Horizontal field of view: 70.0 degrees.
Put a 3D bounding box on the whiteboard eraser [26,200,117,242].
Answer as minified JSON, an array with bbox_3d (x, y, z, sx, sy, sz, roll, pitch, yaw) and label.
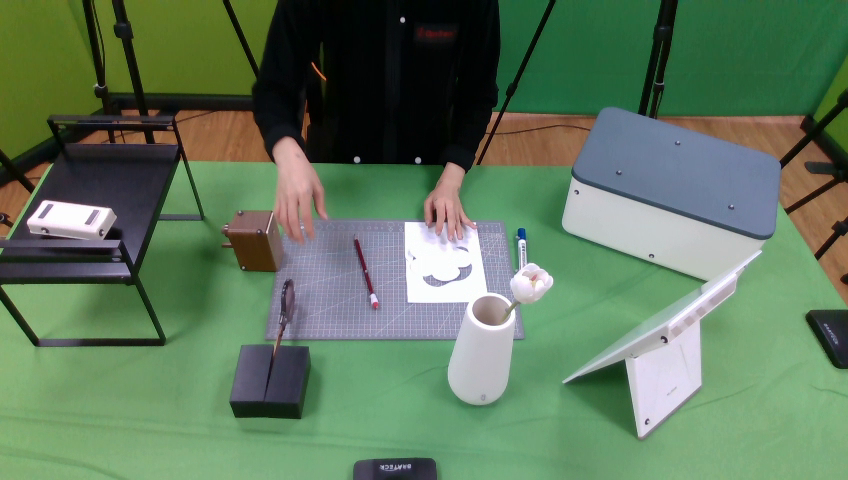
[{"bbox_3d":[-0.532,-0.026,0.919,0.113,0.042,0.055,7,45,3],"label":"whiteboard eraser"}]

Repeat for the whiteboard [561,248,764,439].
[{"bbox_3d":[0.386,0.176,0.905,0.217,0.306,0.143,-26,72,-27],"label":"whiteboard"}]

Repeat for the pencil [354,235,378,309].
[{"bbox_3d":[-0.113,0.055,1.142,0.012,0.012,0.192,-10,46,-13],"label":"pencil"}]

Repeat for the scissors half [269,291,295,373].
[{"bbox_3d":[-0.237,0.151,1.009,0.013,0.040,0.174,4,38,0],"label":"scissors half"}]

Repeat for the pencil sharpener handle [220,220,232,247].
[{"bbox_3d":[-0.362,-0.009,1.105,0.030,0.068,0.036,1,52,1],"label":"pencil sharpener handle"}]

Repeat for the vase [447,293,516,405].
[{"bbox_3d":[0.091,0.169,0.921,0.098,0.201,0.097,3,47,-3],"label":"vase"}]

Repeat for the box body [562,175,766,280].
[{"bbox_3d":[0.486,-0.088,1.222,0.363,0.161,0.253,20,48,15],"label":"box body"}]

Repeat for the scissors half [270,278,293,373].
[{"bbox_3d":[-0.236,0.137,0.994,0.013,0.040,0.174,0,55,3],"label":"scissors half"}]

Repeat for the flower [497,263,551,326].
[{"bbox_3d":[0.103,0.121,0.852,0.044,0.363,0.038,-2,64,-9],"label":"flower"}]

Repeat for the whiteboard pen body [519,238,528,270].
[{"bbox_3d":[0.193,0.035,1.181,0.017,0.017,0.140,6,48,1],"label":"whiteboard pen body"}]

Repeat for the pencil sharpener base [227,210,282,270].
[{"bbox_3d":[-0.311,0.001,1.112,0.077,0.107,0.061,0,47,1],"label":"pencil sharpener base"}]

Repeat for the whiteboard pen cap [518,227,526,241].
[{"bbox_3d":[0.197,-0.009,1.220,0.018,0.018,0.033,5,50,1],"label":"whiteboard pen cap"}]

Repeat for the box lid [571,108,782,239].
[{"bbox_3d":[0.491,-0.139,1.168,0.370,0.015,0.262,21,49,15],"label":"box lid"}]
